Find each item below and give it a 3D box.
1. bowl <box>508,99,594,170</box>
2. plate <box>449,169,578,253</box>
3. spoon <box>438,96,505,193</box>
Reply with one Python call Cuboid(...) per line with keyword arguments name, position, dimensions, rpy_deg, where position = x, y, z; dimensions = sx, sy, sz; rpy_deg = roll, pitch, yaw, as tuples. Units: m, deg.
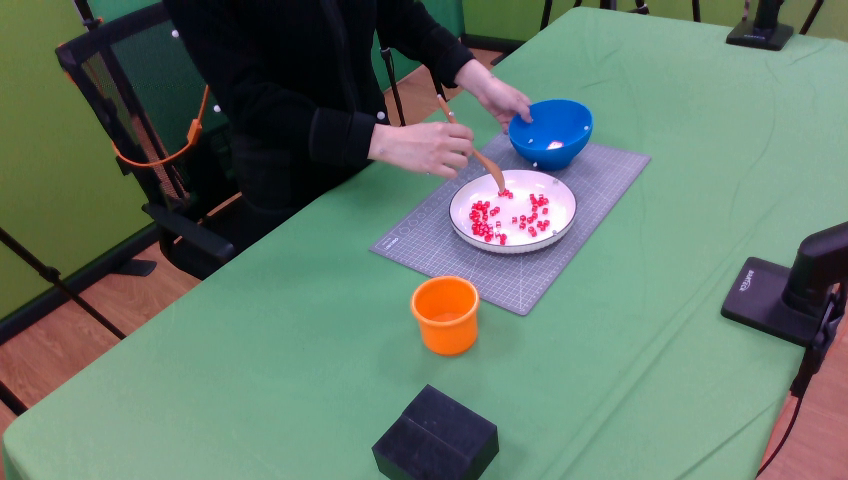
Cuboid(name="bowl", position=(0.234, -0.181, 1.100), dimensions=(0.151, 0.077, 0.150), rpy_deg=(-9, 44, 10))
Cuboid(name="plate", position=(0.146, -0.044, 0.993), dimensions=(0.209, 0.038, 0.208), rpy_deg=(-5, 40, 5))
Cuboid(name="spoon", position=(0.074, -0.142, 0.919), dimensions=(0.021, 0.195, 0.041), rpy_deg=(-27, 35, 28))
